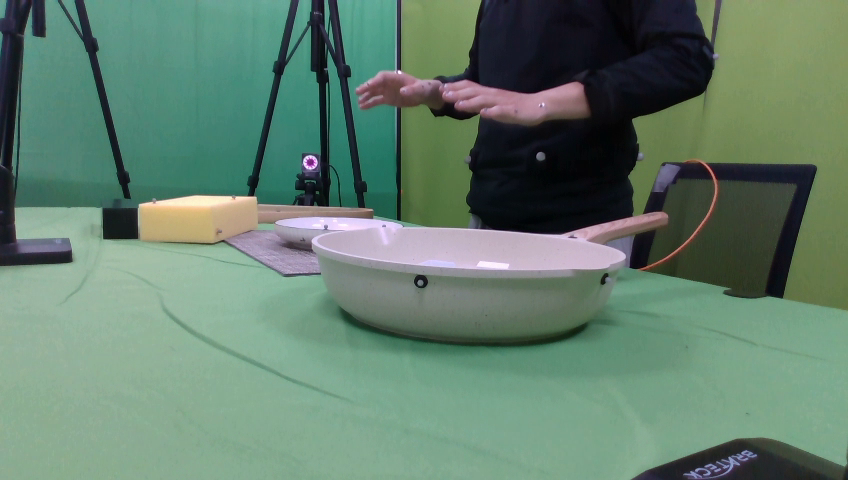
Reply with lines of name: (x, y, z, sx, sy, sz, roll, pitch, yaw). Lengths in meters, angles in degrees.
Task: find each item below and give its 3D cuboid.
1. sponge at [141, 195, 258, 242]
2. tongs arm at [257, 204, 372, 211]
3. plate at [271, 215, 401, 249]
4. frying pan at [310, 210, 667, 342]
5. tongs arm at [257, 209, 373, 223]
sponge: (-0.380, -0.040, 1.047, 0.118, 0.061, 0.207, 1, 8, 3)
tongs arm: (-0.312, -0.068, 1.418, 0.387, 0.026, 0.050, 1, 8, -24)
plate: (-0.141, -0.012, 0.978, 0.208, 0.039, 0.207, 3, 7, 0)
frying pan: (0.120, 0.011, 0.643, 0.490, 0.102, 0.305, -13, 16, -36)
tongs arm: (-0.274, -0.054, 1.347, 0.390, 0.028, 0.028, -2, 6, -37)
